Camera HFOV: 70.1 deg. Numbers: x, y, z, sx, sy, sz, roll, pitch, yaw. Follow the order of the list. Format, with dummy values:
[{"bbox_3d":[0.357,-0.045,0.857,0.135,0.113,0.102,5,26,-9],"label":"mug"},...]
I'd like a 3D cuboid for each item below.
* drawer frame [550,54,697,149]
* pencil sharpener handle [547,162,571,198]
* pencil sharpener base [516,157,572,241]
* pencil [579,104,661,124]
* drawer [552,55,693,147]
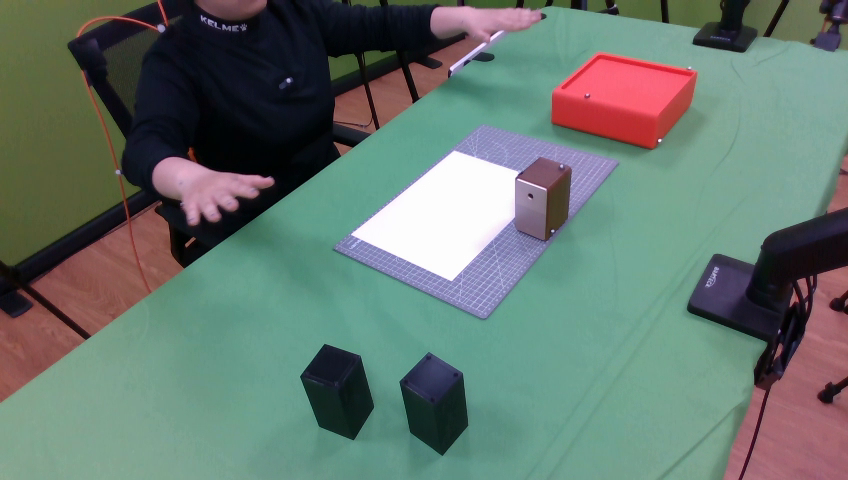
[{"bbox_3d":[0.391,-0.280,1.194,0.212,0.083,0.202,23,48,30],"label":"drawer frame"},{"bbox_3d":[0.221,-0.102,0.968,0.035,0.068,0.031,19,46,37],"label":"pencil sharpener handle"},{"bbox_3d":[0.189,-0.065,0.948,0.061,0.107,0.077,24,49,33],"label":"pencil sharpener base"},{"bbox_3d":[0.395,-0.255,1.212,0.195,0.012,0.012,-15,40,-17],"label":"pencil"},{"bbox_3d":[0.389,-0.278,1.196,0.210,0.073,0.195,24,49,31],"label":"drawer"}]
